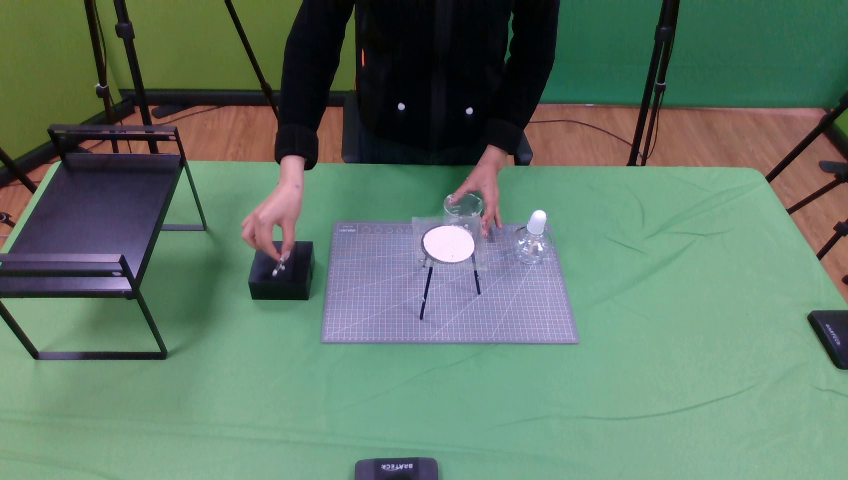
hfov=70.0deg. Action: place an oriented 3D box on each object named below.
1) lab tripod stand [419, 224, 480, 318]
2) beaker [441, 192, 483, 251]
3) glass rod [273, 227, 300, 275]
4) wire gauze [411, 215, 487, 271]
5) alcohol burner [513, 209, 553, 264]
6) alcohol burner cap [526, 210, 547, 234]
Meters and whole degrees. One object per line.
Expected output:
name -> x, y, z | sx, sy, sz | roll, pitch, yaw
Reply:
lab tripod stand -> 0.034, 0.052, 1.070 | 0.148, 0.132, 0.147 | 3, 48, -3
beaker -> 0.073, -0.035, 1.180 | 0.084, 0.101, 0.073 | -20, 51, -22
glass rod -> -0.241, 0.016, 1.074 | 0.008, 0.008, 0.199 | 4, 23, -1
wire gauze -> 0.041, 0.002, 1.025 | 0.125, 0.011, 0.120 | 1, 46, -3
alcohol burner -> 0.210, -0.012, 1.158 | 0.078, 0.120, 0.077 | 1, 44, -1
alcohol burner cap -> 0.213, -0.037, 1.133 | 0.034, 0.048, 0.033 | 4, 51, -5
